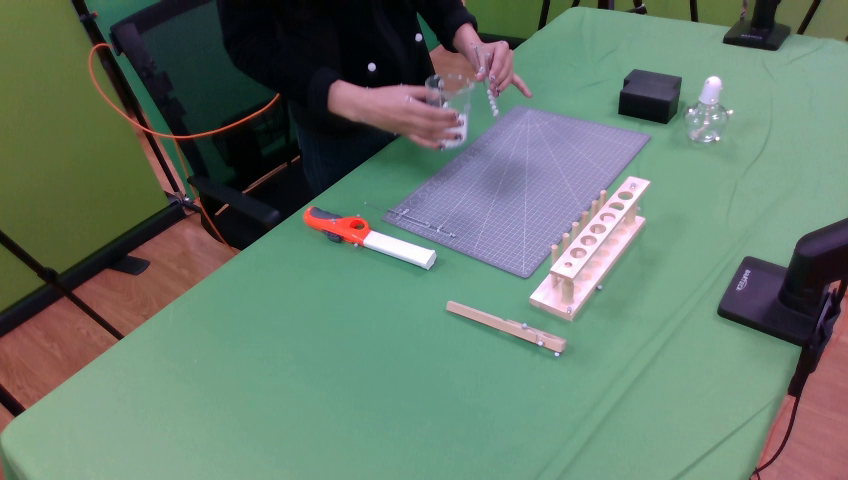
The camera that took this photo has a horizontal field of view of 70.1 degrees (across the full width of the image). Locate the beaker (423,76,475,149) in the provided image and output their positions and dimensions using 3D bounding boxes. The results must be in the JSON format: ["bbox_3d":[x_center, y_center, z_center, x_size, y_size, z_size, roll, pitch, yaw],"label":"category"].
[{"bbox_3d":[0.040,-0.207,0.987,0.084,0.100,0.073,-5,38,-9],"label":"beaker"}]

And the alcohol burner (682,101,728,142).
[{"bbox_3d":[0.513,-0.239,1.097,0.078,0.119,0.077,-4,40,4],"label":"alcohol burner"}]

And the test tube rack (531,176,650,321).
[{"bbox_3d":[0.246,0.002,0.884,0.066,0.085,0.243,22,49,32],"label":"test tube rack"}]

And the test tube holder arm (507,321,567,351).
[{"bbox_3d":[0.148,0.128,0.808,0.087,0.015,0.010,16,11,28],"label":"test tube holder arm"}]

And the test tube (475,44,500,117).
[{"bbox_3d":[0.111,-0.275,1.057,0.017,0.151,0.017,-10,49,13],"label":"test tube"}]

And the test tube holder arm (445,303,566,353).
[{"bbox_3d":[0.107,0.117,0.824,0.177,0.015,0.013,16,11,27],"label":"test tube holder arm"}]

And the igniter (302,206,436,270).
[{"bbox_3d":[-0.101,-0.007,1.005,0.274,0.025,0.057,19,58,29],"label":"igniter"}]

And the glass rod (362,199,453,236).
[{"bbox_3d":[-0.032,-0.041,1.041,0.198,0.008,0.008,22,50,31],"label":"glass rod"}]

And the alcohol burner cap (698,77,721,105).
[{"bbox_3d":[0.509,-0.266,1.072,0.034,0.048,0.033,-4,48,5],"label":"alcohol burner cap"}]
